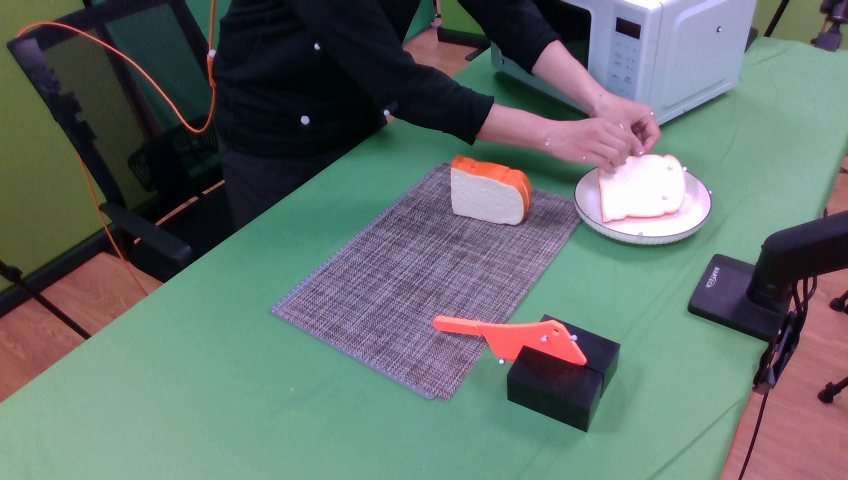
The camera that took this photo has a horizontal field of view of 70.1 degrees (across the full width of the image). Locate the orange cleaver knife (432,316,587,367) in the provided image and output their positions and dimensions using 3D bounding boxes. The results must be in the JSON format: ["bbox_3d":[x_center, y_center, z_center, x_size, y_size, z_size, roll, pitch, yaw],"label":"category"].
[{"bbox_3d":[0.101,0.127,0.761,0.210,0.077,0.012,-1,34,40],"label":"orange cleaver knife"}]

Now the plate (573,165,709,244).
[{"bbox_3d":[0.347,-0.059,0.978,0.207,0.039,0.206,-4,41,4],"label":"plate"}]

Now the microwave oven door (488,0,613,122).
[{"bbox_3d":[0.251,-0.412,1.219,0.039,0.245,0.352,-27,44,-21],"label":"microwave oven door"}]

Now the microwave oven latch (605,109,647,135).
[{"bbox_3d":[0.378,-0.225,1.139,0.030,0.029,0.078,-26,43,-19],"label":"microwave oven latch"}]

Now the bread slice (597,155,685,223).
[{"bbox_3d":[0.347,-0.086,0.968,0.134,0.018,0.106,-7,82,4],"label":"bread slice"}]

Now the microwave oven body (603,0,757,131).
[{"bbox_3d":[0.396,-0.448,1.248,0.327,0.261,0.437,-27,44,-21],"label":"microwave oven body"}]
